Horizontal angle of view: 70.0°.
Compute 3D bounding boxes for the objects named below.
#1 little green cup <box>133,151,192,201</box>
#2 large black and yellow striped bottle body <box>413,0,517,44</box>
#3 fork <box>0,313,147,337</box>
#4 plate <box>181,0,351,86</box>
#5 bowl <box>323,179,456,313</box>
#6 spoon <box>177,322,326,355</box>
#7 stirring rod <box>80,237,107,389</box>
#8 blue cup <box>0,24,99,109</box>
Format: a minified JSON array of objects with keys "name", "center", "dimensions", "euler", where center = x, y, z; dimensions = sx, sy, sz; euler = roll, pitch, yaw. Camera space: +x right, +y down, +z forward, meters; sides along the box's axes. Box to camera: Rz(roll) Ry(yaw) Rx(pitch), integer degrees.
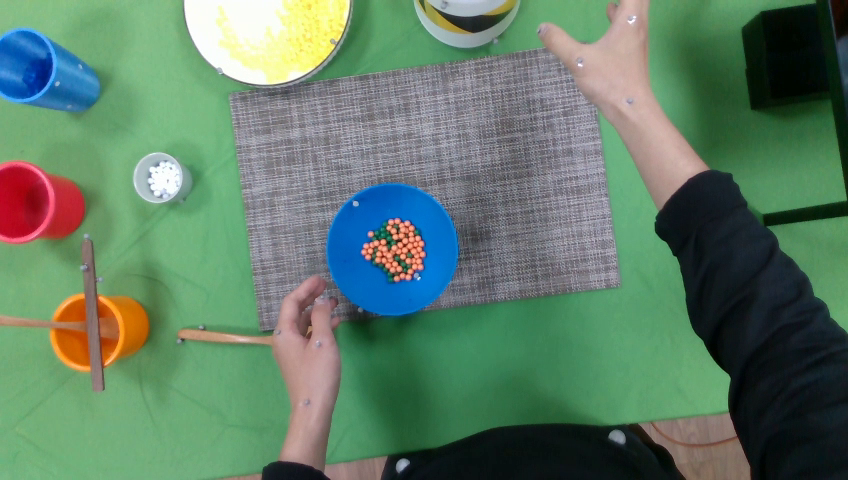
[{"name":"little green cup","center":[-0.322,-0.077,0.752],"dimensions":[0.061,0.038,0.061],"euler":[0,90,4]},{"name":"large black and yellow striped bottle body","center":[0.045,-0.306,0.662],"dimensions":[0.131,0.184,0.130],"euler":[0,89,3]},{"name":"fork","center":[-0.432,0.094,0.702],"dimensions":[0.209,0.018,0.028],"euler":[12,92,-40]},{"name":"plate","center":[-0.191,-0.290,0.747],"dimensions":[0.209,0.038,0.209],"euler":[0,90,3]},{"name":"bowl","center":[-0.036,0.007,0.713],"dimensions":[0.151,0.077,0.151],"euler":[0,90,3]},{"name":"spoon","center":[-0.216,0.118,0.754],"dimensions":[0.194,0.021,0.042],"euler":[3,104,2]},{"name":"stirring rod","center":[-0.381,0.084,0.697],"dimensions":[0.014,0.006,0.176],"euler":[-6,90,1]},{"name":"blue cup","center":[-0.449,-0.198,0.728],"dimensions":[0.092,0.100,0.092],"euler":[0,90,5]}]
